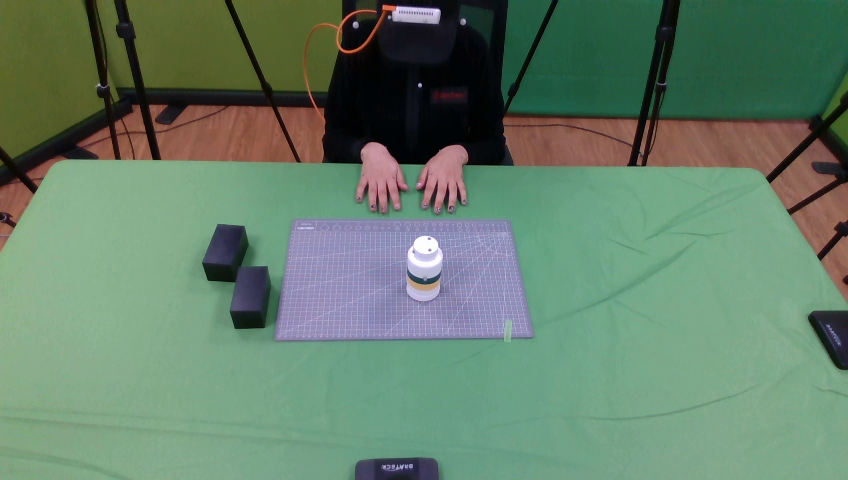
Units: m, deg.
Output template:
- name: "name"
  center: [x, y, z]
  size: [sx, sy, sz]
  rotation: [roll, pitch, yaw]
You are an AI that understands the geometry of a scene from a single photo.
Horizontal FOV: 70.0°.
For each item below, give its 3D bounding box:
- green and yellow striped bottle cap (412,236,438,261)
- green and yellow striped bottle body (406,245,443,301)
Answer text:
- name: "green and yellow striped bottle cap"
  center: [0.002, 0.013, 1.040]
  size: [0.045, 0.020, 0.045]
  rotation: [3, 45, -3]
- name: "green and yellow striped bottle body"
  center: [0.001, 0.049, 1.077]
  size: [0.063, 0.120, 0.063]
  rotation: [2, 46, -2]
